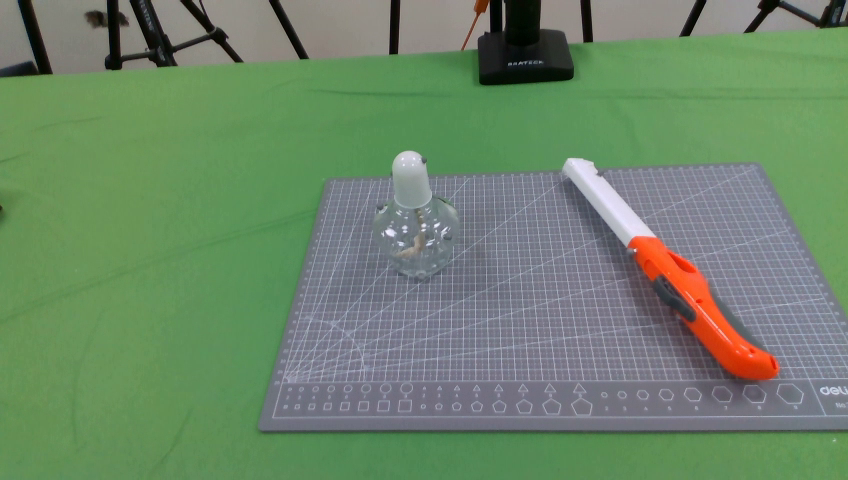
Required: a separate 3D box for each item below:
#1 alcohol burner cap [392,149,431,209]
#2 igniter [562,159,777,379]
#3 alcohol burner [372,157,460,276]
[{"bbox_3d":[-0.011,-0.052,0.495,0.034,0.048,0.033,-2,47,2],"label":"alcohol burner cap"},{"bbox_3d":[0.194,0.010,0.518,0.057,0.025,0.273,3,37,-23],"label":"igniter"},{"bbox_3d":[-0.008,-0.026,0.520,0.078,0.120,0.077,-2,45,2],"label":"alcohol burner"}]
